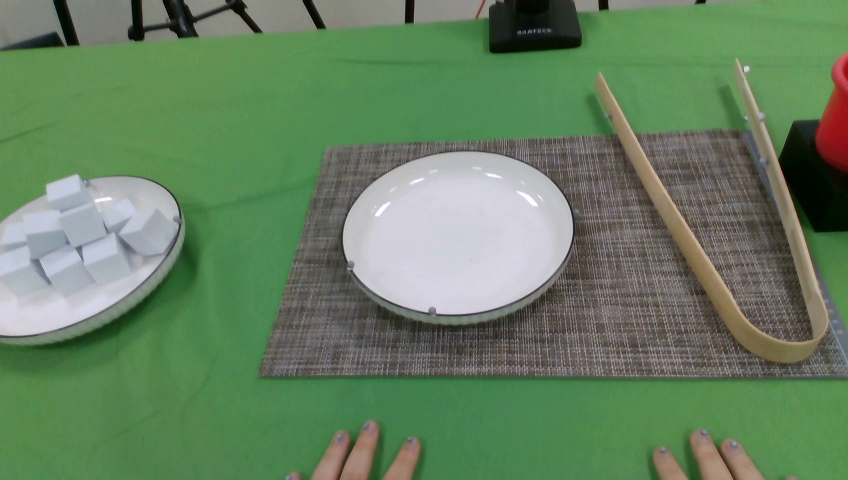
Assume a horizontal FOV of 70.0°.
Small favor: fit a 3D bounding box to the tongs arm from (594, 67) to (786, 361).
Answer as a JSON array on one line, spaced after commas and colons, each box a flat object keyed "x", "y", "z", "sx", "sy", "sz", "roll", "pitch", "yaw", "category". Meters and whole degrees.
[{"x": 0.225, "y": -0.054, "z": 0.572, "sx": 0.028, "sy": 0.028, "sz": 0.383, "roll": -5, "pitch": 47, "yaw": -4, "category": "tongs arm"}]

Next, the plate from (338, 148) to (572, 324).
[{"x": 0.027, "y": -0.005, "z": 0.550, "sx": 0.207, "sy": 0.039, "sz": 0.205, "roll": -4, "pitch": 47, "yaw": 4, "category": "plate"}]

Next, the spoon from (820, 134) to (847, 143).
[{"x": 0.392, "y": -0.104, "z": 0.448, "sx": 0.041, "sy": 0.193, "sz": 0.021, "roll": -28, "pitch": 91, "yaw": -23, "category": "spoon"}]

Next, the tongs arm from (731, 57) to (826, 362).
[{"x": 0.307, "y": -0.057, "z": 0.564, "sx": 0.050, "sy": 0.027, "sz": 0.381, "roll": 2, "pitch": 48, "yaw": 8, "category": "tongs arm"}]

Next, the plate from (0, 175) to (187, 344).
[{"x": -0.329, "y": 0.018, "z": 0.583, "sx": 0.209, "sy": 0.038, "sz": 0.207, "roll": -4, "pitch": 46, "yaw": 4, "category": "plate"}]

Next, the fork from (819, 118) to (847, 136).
[{"x": 0.423, "y": -0.135, "z": 0.474, "sx": 0.207, "sy": 0.019, "sz": 0.028, "roll": -33, "pitch": 12, "yaw": 34, "category": "fork"}]
